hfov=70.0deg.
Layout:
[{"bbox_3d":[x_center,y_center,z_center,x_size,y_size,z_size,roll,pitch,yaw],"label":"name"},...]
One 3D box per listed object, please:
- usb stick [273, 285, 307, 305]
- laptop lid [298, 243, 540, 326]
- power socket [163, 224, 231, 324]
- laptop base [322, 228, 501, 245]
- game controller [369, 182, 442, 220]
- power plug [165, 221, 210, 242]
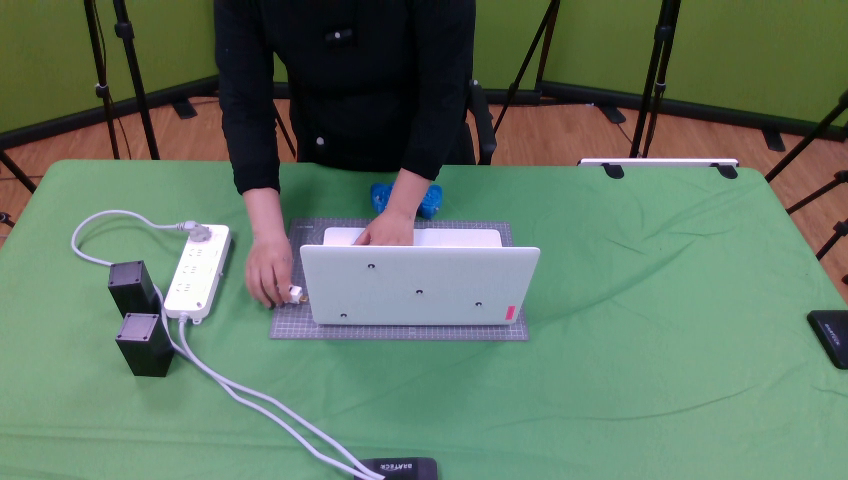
[{"bbox_3d":[-0.234,0.097,1.069,0.059,0.027,0.021,8,40,19],"label":"usb stick"},{"bbox_3d":[-0.010,0.077,0.957,0.357,0.243,0.013,1,53,-5],"label":"laptop lid"},{"bbox_3d":[-0.411,0.053,1.106,0.072,0.033,0.225,3,46,-3],"label":"power socket"},{"bbox_3d":[-0.020,0.065,1.135,0.355,0.023,0.234,1,43,-4],"label":"laptop base"},{"bbox_3d":[-0.039,-0.090,1.267,0.155,0.052,0.096,1,50,-2],"label":"game controller"},{"bbox_3d":[-0.441,-0.014,1.142,0.072,0.053,0.035,7,46,8],"label":"power plug"}]
